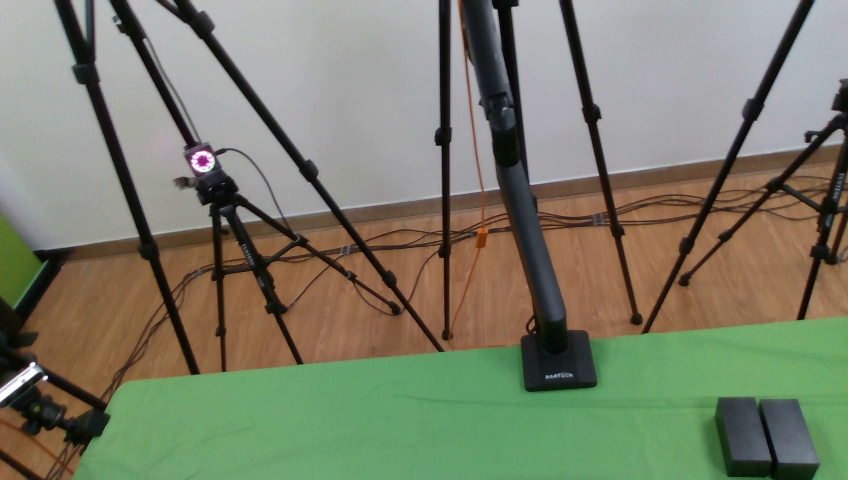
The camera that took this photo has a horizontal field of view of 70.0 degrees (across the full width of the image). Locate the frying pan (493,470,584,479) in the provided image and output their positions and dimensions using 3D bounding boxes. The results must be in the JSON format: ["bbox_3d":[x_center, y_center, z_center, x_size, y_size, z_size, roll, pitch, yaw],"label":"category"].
[{"bbox_3d":[0.136,0.500,0.676,0.306,0.104,0.484,-5,35,13],"label":"frying pan"}]
